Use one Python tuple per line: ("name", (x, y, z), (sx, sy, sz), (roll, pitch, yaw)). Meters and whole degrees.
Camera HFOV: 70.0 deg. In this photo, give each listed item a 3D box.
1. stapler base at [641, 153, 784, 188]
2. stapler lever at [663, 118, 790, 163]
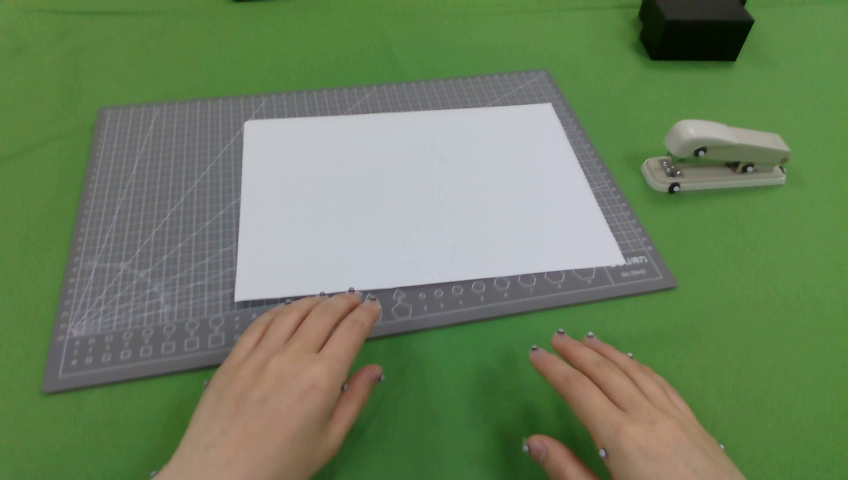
("stapler base", (0.265, -0.071, 0.551), (0.131, 0.024, 0.041), (-4, 52, -9))
("stapler lever", (0.268, -0.088, 0.532), (0.118, 0.040, 0.026), (-4, 52, -8))
